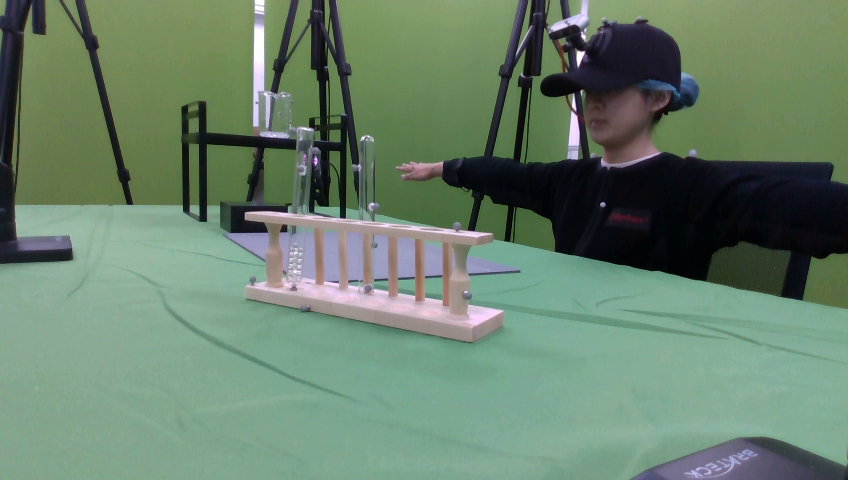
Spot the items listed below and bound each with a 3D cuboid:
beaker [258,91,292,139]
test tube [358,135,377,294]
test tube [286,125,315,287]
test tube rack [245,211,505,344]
[{"bbox_3d":[-0.331,-0.276,1.343,0.074,0.100,0.083,0,8,-20],"label":"beaker"},{"bbox_3d":[-0.053,-0.022,0.565,0.017,0.150,0.017,2,6,0],"label":"test tube"},{"bbox_3d":[-0.115,-0.030,0.560,0.017,0.150,0.017,6,8,-1],"label":"test tube"},{"bbox_3d":[-0.049,0.025,0.547,0.241,0.085,0.067,7,8,28],"label":"test tube rack"}]
